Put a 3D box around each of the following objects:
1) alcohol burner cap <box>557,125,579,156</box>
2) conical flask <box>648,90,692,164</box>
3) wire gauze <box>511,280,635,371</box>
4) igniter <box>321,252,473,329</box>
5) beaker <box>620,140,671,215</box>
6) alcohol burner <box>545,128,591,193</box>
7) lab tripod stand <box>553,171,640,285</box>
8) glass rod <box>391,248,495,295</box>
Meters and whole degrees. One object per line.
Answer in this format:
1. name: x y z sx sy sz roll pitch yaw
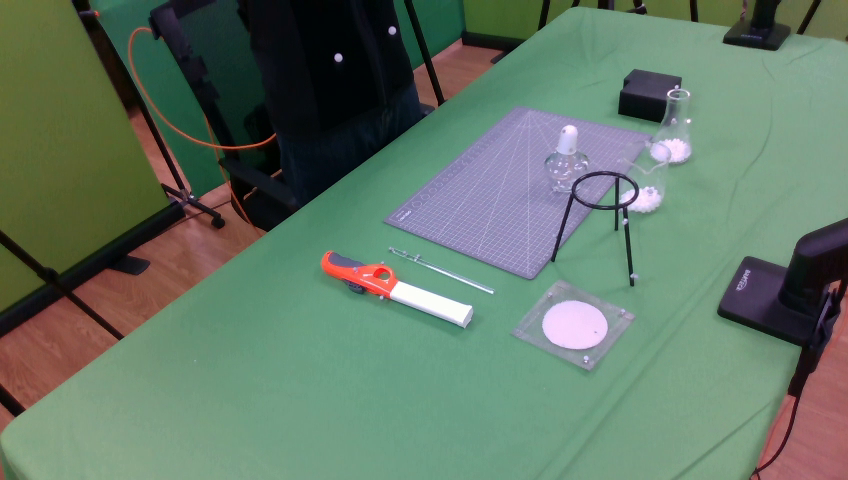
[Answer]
1. alcohol burner cap: 0.241 -0.167 1.004 0.034 0.048 0.033 0 39 1
2. conical flask: 0.437 -0.199 1.057 0.075 0.122 0.075 -5 40 5
3. wire gauze: 0.203 0.114 0.822 0.120 0.011 0.125 25 52 35
4. igniter: -0.051 0.071 0.906 0.274 0.025 0.057 18 57 29
5. beaker: 0.352 -0.096 0.971 0.074 0.101 0.084 1 42 13
6. alcohol burner: 0.245 -0.141 1.028 0.078 0.119 0.077 -5 42 5
7. lab tripod stand: 0.260 -0.025 0.877 0.148 0.132 0.147 -6 38 5
8. glass rod: 0.026 0.046 0.936 0.198 0.008 0.008 22 50 31
